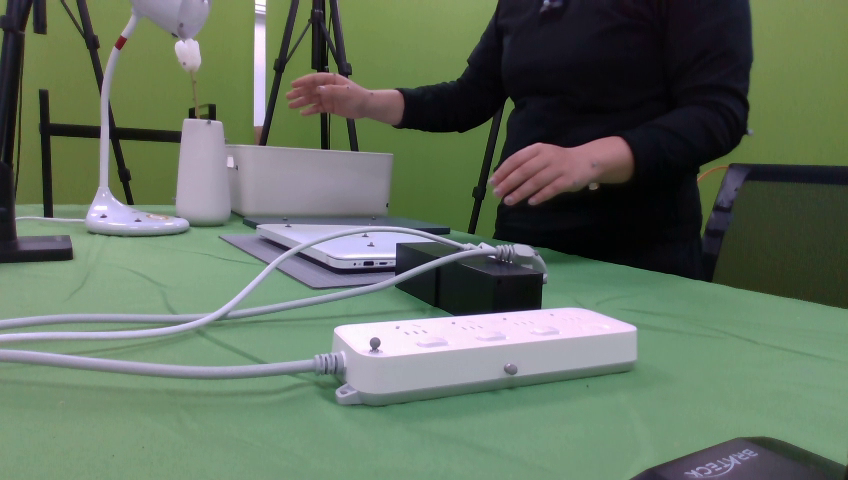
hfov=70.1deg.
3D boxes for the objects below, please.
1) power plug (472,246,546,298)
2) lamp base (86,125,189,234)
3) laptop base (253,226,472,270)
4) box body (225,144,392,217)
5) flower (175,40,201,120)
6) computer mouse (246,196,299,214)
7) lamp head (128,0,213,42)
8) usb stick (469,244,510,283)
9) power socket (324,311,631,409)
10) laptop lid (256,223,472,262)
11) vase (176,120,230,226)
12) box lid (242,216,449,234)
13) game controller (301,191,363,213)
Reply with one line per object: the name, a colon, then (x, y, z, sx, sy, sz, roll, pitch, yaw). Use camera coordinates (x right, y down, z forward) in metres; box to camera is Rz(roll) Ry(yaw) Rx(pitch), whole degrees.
power plug: (0.081, 0.029, 0.584, 0.072, 0.052, 0.035, 12, 29, 9)
lamp base: (-0.497, -0.105, 1.027, 0.179, 0.180, 0.160, 1, 7, 3)
laptop base: (-0.095, 0.011, 0.912, 0.237, 0.023, 0.352, 2, 6, -32)
box body: (-0.289, -0.143, 1.475, 0.366, 0.160, 0.253, -1, 9, -29)
flower: (-0.431, -0.211, 1.166, 0.044, 0.361, 0.038, -9, -5, -22)
computer mouse: (-0.355, -0.083, 1.418, 0.117, 0.041, 0.063, 0, 10, 7)
lamp head: (-0.423, -0.394, 0.980, 0.123, 0.112, 0.112, 20, 7, -3)
usb stick: (0.080, 0.029, 0.673, 0.059, 0.021, 0.027, 28, 25, -29)
power socket: (0.042, 0.075, 0.411, 0.228, 0.032, 0.072, -1, 8, -25)
laptop lid: (-0.092, 0.000, 0.912, 0.243, 0.013, 0.355, 1, 7, -30)
vase: (-0.425, -0.128, 1.159, 0.098, 0.200, 0.098, 2, 9, 0)
box lid: (-0.162, -0.030, 1.233, 0.373, 0.015, 0.262, -1, 8, -32)
game controller: (-0.240, -0.098, 1.550, 0.155, 0.051, 0.097, 3, 9, 5)
